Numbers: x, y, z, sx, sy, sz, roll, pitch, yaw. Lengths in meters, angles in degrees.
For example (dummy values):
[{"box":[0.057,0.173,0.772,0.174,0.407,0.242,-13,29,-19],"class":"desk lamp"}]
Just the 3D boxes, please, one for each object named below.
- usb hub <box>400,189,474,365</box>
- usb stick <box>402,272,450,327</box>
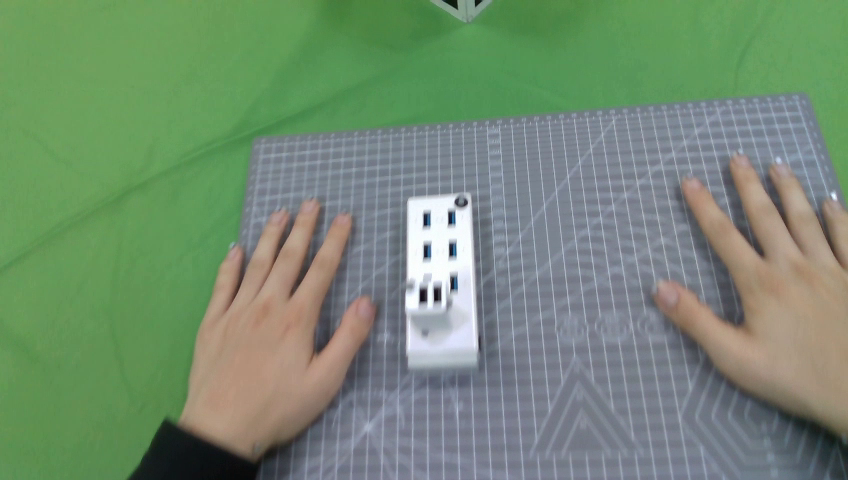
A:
[{"box":[0.009,0.024,0.429,0.049,0.025,0.124,-2,66,5],"class":"usb hub"},{"box":[0.003,0.041,0.390,0.027,0.059,0.021,-3,64,4],"class":"usb stick"}]
